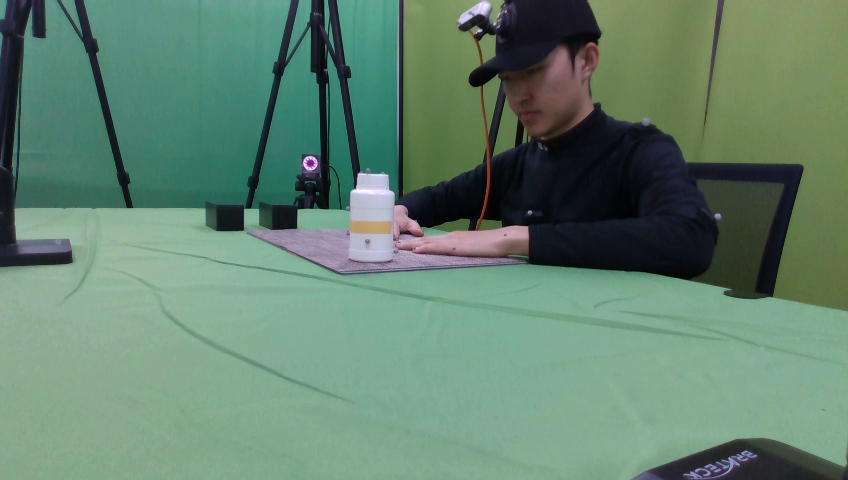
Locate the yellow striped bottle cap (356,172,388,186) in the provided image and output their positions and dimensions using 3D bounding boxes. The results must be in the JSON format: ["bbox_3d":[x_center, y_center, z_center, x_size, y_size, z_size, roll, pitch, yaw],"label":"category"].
[{"bbox_3d":[-0.072,-0.084,0.839,0.044,0.018,0.044,2,9,0],"label":"yellow striped bottle cap"}]

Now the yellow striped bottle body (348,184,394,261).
[{"bbox_3d":[-0.073,-0.034,0.845,0.063,0.120,0.063,2,7,0],"label":"yellow striped bottle body"}]
